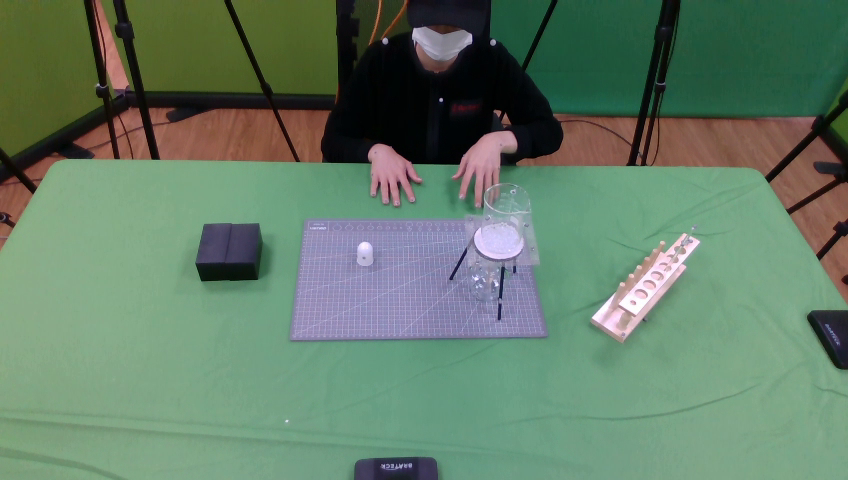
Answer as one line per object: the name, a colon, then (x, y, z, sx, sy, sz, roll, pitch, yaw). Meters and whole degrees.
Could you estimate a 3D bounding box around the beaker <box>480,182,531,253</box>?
beaker: (0.133, -0.033, 0.998, 0.083, 0.101, 0.074, 26, 51, 22)

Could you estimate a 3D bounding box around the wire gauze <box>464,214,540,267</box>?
wire gauze: (0.131, -0.001, 1.035, 0.121, 0.011, 0.124, 1, 44, -2)

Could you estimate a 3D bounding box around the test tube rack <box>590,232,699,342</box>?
test tube rack: (0.407, 0.074, 1.112, 0.066, 0.085, 0.242, 35, 53, 26)

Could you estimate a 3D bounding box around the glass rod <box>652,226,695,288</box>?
glass rod: (0.432, 0.037, 1.057, 0.008, 0.200, 0.008, 1, 54, -1)

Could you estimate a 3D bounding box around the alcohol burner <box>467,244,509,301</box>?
alcohol burner: (0.116, 0.053, 1.087, 0.078, 0.120, 0.077, 1, 44, -1)

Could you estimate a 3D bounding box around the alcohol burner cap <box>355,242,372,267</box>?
alcohol burner cap: (-0.114, 0.024, 1.147, 0.034, 0.048, 0.033, 2, 45, -2)

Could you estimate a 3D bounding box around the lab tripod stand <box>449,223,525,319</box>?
lab tripod stand: (0.120, 0.046, 1.080, 0.148, 0.132, 0.147, 1, 47, -1)
